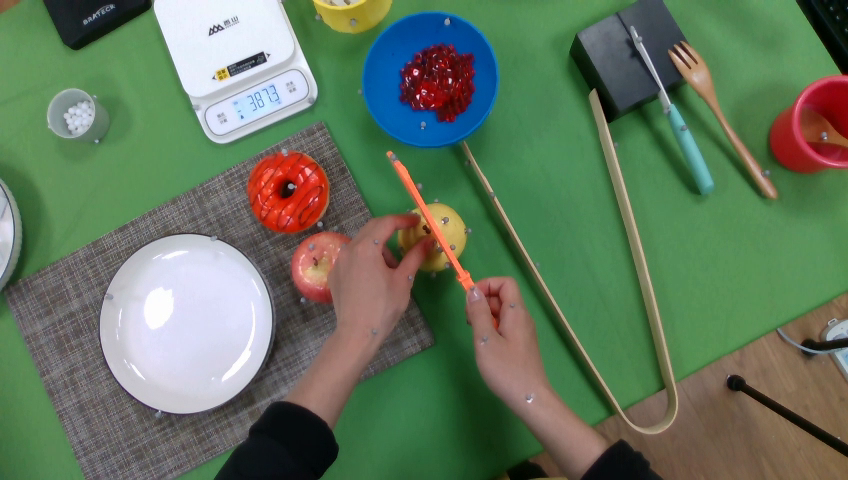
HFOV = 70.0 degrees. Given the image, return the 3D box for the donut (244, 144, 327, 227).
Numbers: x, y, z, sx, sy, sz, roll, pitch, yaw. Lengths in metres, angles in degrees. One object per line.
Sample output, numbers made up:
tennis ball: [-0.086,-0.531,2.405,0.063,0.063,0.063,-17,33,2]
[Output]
donut: [-0.162,-0.063,0.709,0.099,0.048,0.099,0,87,6]

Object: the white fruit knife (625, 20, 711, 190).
white fruit knife: [0.268,-0.147,0.668,0.016,0.027,0.208,-30,99,2]

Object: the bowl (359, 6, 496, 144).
bowl: [0.006,-0.177,0.691,0.151,0.077,0.151,0,87,4]

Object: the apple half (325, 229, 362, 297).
apple half: [-0.086,0.027,0.682,0.033,0.081,0.081,5,86,8]

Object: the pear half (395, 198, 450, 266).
pear half: [-0.005,-0.006,0.664,0.056,0.110,0.076,-29,78,3]

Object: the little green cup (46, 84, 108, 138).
little green cup: [-0.422,-0.155,0.742,0.061,0.039,0.061,0,86,5]

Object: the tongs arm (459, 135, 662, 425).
tongs arm: [0.151,0.040,0.687,0.051,0.026,0.384,-27,85,-4]

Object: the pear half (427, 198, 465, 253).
pear half: [0.028,-0.019,0.673,0.031,0.088,0.070,-28,78,3]

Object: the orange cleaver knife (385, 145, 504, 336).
orange cleaver knife: [0.019,0.000,0.593,0.012,0.077,0.212,-31,104,-1]

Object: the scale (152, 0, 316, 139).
scale: [-0.231,-0.237,0.736,0.148,0.031,0.200,-23,85,3]

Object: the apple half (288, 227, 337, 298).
apple half: [-0.124,0.024,0.686,0.053,0.075,0.080,6,89,8]

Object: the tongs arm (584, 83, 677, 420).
tongs arm: [0.232,0.008,0.690,0.028,0.028,0.386,-12,85,-6]

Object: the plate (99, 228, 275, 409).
plate: [-0.272,0.090,0.711,0.209,0.038,0.208,0,86,4]

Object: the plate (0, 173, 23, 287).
plate: [-0.588,-0.009,0.745,0.207,0.039,0.207,0,86,4]

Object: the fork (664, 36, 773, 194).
fork: [0.330,-0.136,0.670,0.028,0.018,0.208,-37,100,-1]

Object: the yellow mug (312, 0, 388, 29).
yellow mug: [-0.107,-0.318,0.714,0.130,0.064,0.100,30,89,7]

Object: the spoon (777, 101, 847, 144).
spoon: [0.443,-0.096,0.619,0.041,0.022,0.191,-33,40,1]
